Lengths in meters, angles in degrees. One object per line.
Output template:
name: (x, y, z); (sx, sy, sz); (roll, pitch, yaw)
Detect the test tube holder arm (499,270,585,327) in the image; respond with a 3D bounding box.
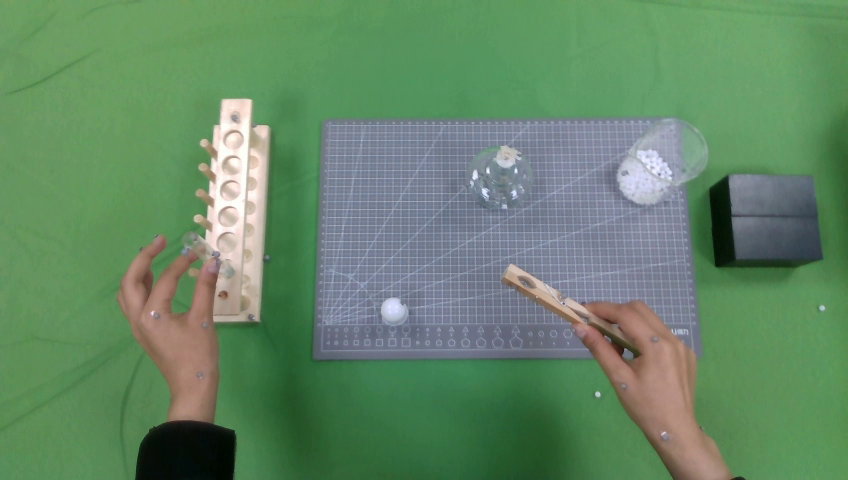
test tube holder arm: (0.109, 0.054, 0.554); (0.088, 0.015, 0.010); (30, 71, -2)

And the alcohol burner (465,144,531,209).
alcohol burner: (0.085, -0.078, 0.689); (0.078, 0.119, 0.077); (0, 78, 2)

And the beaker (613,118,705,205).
beaker: (0.263, -0.085, 0.699); (0.084, 0.100, 0.073); (-2, 77, 1)

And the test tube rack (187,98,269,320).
test tube rack: (-0.228, -0.033, 0.694); (0.067, 0.085, 0.241); (0, 78, 0)

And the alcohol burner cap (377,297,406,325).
alcohol burner cap: (-0.038, 0.079, 0.691); (0.034, 0.048, 0.033); (0, 78, -1)

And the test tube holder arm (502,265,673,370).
test tube holder arm: (0.151, 0.072, 0.558); (0.178, 0.015, 0.013); (29, 71, -3)

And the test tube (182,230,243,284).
test tube: (-0.213, 0.022, 0.621); (0.017, 0.151, 0.017); (0, 71, 0)
